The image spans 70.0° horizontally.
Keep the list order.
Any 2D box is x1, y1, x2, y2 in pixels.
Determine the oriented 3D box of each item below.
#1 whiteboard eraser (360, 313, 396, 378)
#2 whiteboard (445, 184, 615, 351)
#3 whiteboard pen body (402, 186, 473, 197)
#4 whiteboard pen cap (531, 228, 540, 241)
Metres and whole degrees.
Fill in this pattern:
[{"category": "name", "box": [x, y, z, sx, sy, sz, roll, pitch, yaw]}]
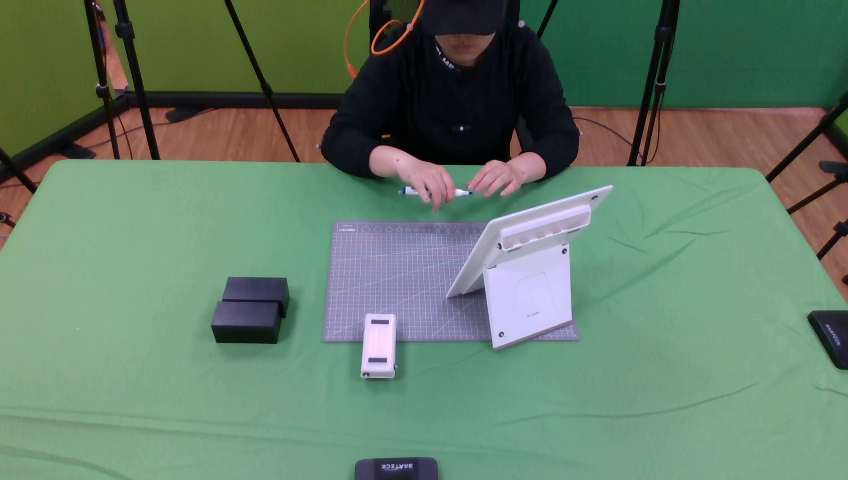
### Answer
[{"category": "whiteboard eraser", "box": [-0.075, 0.176, 1.006, 0.055, 0.042, 0.112, 3, 50, -4]}, {"category": "whiteboard", "box": [0.186, 0.065, 0.989, 0.217, 0.306, 0.143, -15, 68, -18]}, {"category": "whiteboard pen body", "box": [0.027, -0.096, 1.202, 0.141, 0.017, 0.017, 3, 46, -4]}, {"category": "whiteboard pen cap", "box": [0.225, -0.012, 1.221, 0.018, 0.018, 0.033, 14, 30, 9]}]
